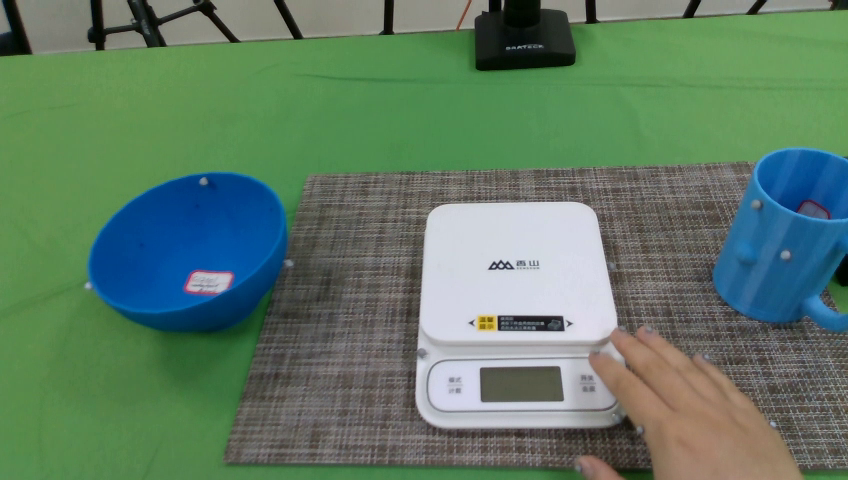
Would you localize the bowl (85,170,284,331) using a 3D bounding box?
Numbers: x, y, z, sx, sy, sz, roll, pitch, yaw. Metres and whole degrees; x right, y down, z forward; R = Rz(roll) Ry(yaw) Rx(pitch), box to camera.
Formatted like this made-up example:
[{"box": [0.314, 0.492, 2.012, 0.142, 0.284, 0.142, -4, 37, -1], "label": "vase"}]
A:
[{"box": [-0.181, 0.021, 0.495, 0.151, 0.077, 0.150, -3, 47, 3], "label": "bowl"}]

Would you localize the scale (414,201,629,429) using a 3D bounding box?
[{"box": [0.070, 0.048, 0.471, 0.148, 0.032, 0.199, -2, 48, 5], "label": "scale"}]

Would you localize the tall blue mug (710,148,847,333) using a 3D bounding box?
[{"box": [0.274, 0.006, 0.435, 0.106, 0.109, 0.077, 31, 56, 30], "label": "tall blue mug"}]
